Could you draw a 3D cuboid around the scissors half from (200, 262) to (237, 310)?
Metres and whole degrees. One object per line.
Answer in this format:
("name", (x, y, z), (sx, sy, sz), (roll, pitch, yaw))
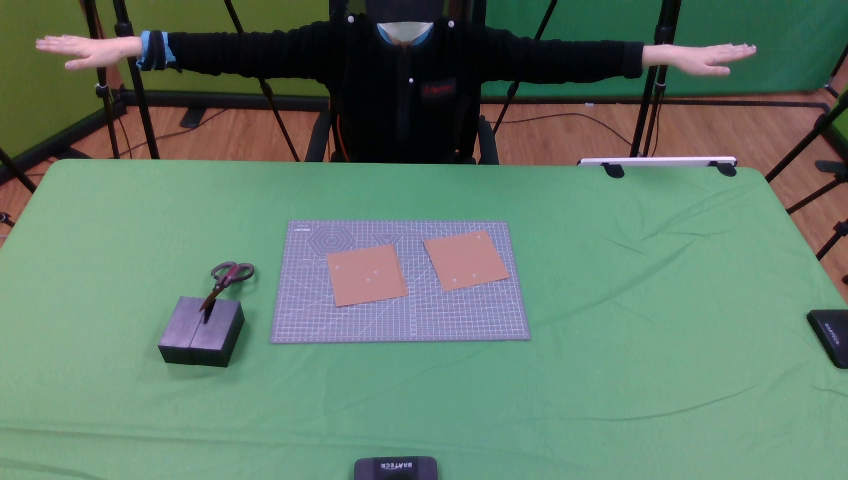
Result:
("scissors half", (-0.363, 0.078, 1.058), (0.040, 0.013, 0.174), (1, 23, -5))

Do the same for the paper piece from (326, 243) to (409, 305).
("paper piece", (-0.108, 0.061, 1.135), (0.136, 0.004, 0.134), (-8, 46, -12))

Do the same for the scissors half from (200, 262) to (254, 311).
("scissors half", (-0.343, 0.079, 1.058), (0.040, 0.013, 0.174), (3, 24, 13))

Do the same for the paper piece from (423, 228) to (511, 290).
("paper piece", (0.082, 0.034, 1.176), (0.138, 0.009, 0.135), (-8, 52, -15))
